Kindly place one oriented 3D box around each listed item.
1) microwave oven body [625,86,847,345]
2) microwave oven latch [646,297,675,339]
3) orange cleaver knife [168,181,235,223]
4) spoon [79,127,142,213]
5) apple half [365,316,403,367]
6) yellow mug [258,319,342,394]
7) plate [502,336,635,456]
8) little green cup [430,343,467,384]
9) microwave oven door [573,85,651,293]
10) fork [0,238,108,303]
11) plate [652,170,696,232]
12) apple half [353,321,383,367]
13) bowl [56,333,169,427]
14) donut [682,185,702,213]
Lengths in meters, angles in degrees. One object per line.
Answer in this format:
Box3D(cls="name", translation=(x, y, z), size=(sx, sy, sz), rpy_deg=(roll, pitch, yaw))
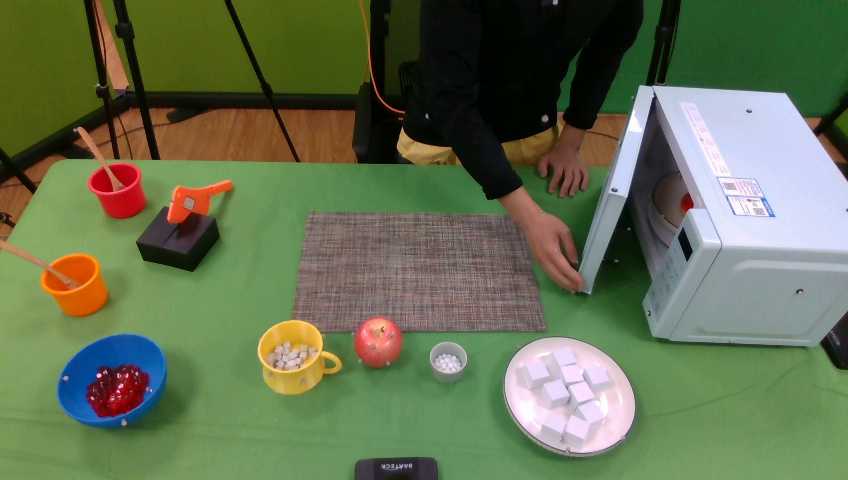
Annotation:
Box3D(cls="microwave oven body", translation=(0.567, -0.053, 1.119), size=(0.326, 0.261, 0.439), rpy_deg=(2, 45, -1))
Box3D(cls="microwave oven latch", translation=(0.412, 0.134, 1.061), size=(0.030, 0.029, 0.078), rpy_deg=(4, 45, 1))
Box3D(cls="orange cleaver knife", translation=(-0.436, -0.078, 1.196), size=(0.012, 0.077, 0.211), rpy_deg=(16, 15, 10))
Box3D(cls="spoon", translation=(-0.625, -0.139, 1.203), size=(0.041, 0.021, 0.194), rpy_deg=(-33, 101, -26))
Box3D(cls="apple half", translation=(-0.063, 0.165, 1.000), size=(0.053, 0.075, 0.080), rpy_deg=(-16, 45, -24))
Box3D(cls="yellow mug", translation=(-0.195, 0.188, 0.972), size=(0.131, 0.064, 0.099), rpy_deg=(9, 47, 4))
Box3D(cls="plate", translation=(0.225, 0.248, 0.963), size=(0.208, 0.039, 0.206), rpy_deg=(2, 46, -2))
Box3D(cls="little green cup", translation=(0.039, 0.203, 0.994), size=(0.061, 0.039, 0.061), rpy_deg=(2, 46, -2))
Box3D(cls="microwave oven door", translation=(0.362, -0.105, 1.147), size=(0.039, 0.245, 0.354), rpy_deg=(18, 48, 13))
Box3D(cls="fork", translation=(-0.633, 0.048, 1.017), size=(0.208, 0.018, 0.028), rpy_deg=(40, 43, -27))
Box3D(cls="plate", translation=(0.555, -0.060, 1.195), size=(0.209, 0.038, 0.208), rpy_deg=(1, 45, -1))
Box3D(cls="apple half", translation=(-0.097, 0.177, 0.984), size=(0.033, 0.081, 0.081), rpy_deg=(-16, 49, -25))
Box3D(cls="bowl", translation=(-0.456, 0.222, 0.911), size=(0.151, 0.077, 0.150), rpy_deg=(3, 45, -2))
Box3D(cls="donut", translation=(0.553, -0.068, 1.184), size=(0.099, 0.048, 0.098), rpy_deg=(4, 50, -4))
